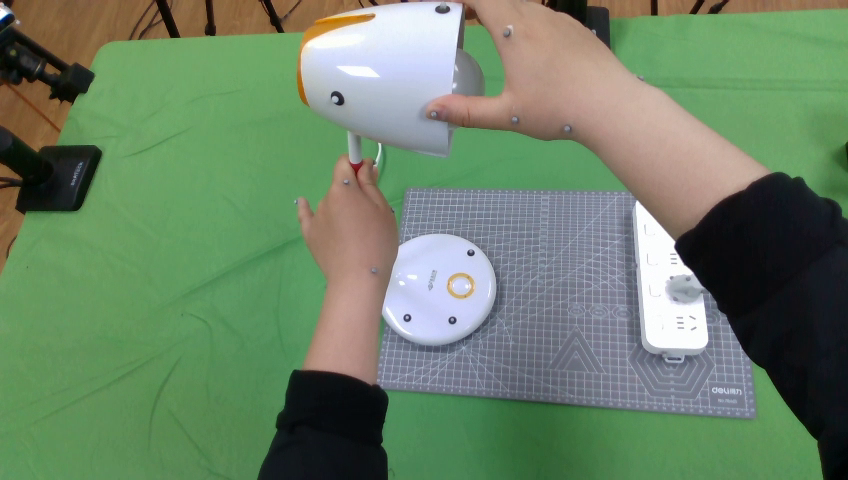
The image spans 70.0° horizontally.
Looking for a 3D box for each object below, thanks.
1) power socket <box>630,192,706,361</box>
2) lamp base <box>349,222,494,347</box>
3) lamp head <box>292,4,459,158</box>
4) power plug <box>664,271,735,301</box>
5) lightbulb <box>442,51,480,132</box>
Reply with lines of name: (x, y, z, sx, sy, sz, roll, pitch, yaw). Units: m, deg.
power socket: (0.303, 0.038, 0.762, 0.072, 0.033, 0.225, 0, 64, 9)
lamp base: (-0.013, 0.030, 0.738, 0.179, 0.182, 0.159, -3, 63, 12)
lamp head: (-0.035, -0.120, 0.458, 0.123, 0.113, 0.111, 3, 64, 8)
power plug: (0.327, 0.059, 0.726, 0.072, 0.053, 0.035, 11, 67, 12)
lightbulb: (-0.012, -0.115, 0.449, 0.107, 0.060, 0.059, 12, 66, 5)
